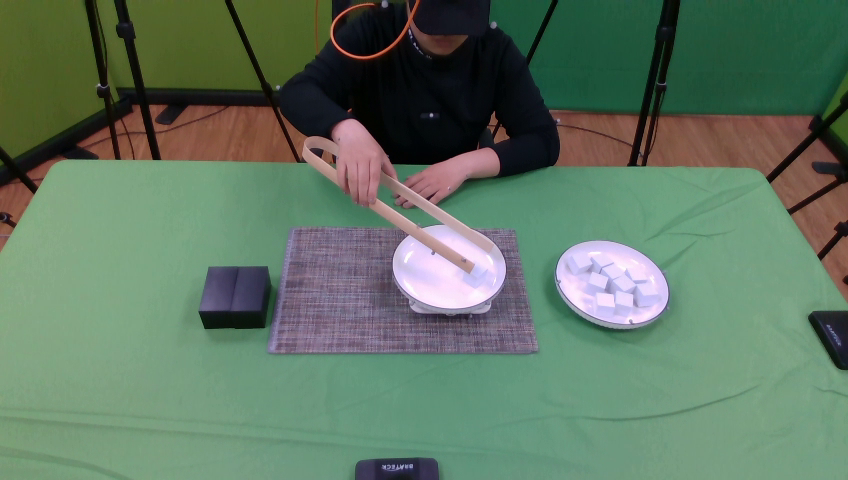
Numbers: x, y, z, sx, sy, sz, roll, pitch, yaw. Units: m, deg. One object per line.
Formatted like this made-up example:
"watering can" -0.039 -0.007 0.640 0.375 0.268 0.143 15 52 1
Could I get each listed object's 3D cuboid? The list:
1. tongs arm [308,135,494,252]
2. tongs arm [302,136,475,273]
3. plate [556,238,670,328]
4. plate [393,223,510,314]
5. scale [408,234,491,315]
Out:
"tongs arm" -0.043 -0.087 1.083 0.387 0.028 0.028 32 46 10
"tongs arm" -0.066 -0.066 1.051 0.384 0.026 0.050 33 43 11
"plate" 0.347 0.083 1.130 0.209 0.038 0.208 2 47 -2
"plate" 0.048 0.053 1.092 0.208 0.039 0.206 1 46 -1
"scale" 0.045 0.055 1.135 0.149 0.032 0.199 1 46 -3
